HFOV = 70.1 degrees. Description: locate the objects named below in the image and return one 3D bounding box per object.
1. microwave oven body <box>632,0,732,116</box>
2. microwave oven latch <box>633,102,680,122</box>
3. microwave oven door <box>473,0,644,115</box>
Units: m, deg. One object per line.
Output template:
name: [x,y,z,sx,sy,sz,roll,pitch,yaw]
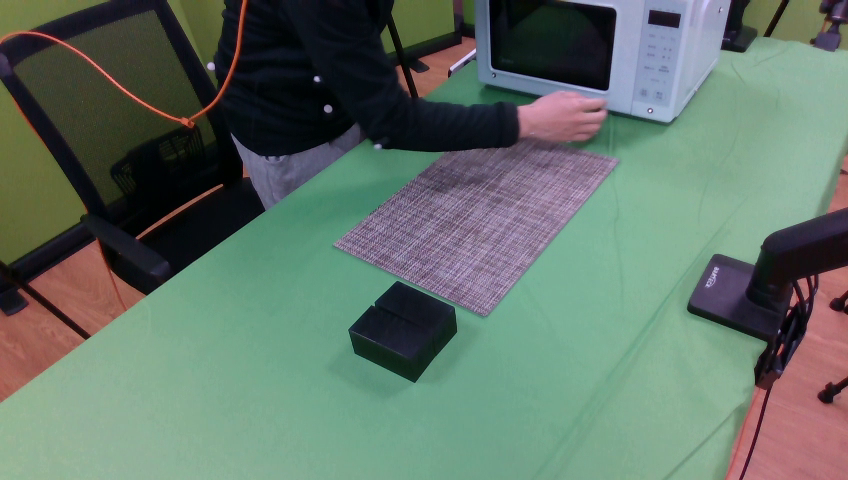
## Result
microwave oven body: [0.377,-0.463,1.267,0.438,0.261,0.327,21,49,30]
microwave oven latch: [0.443,-0.249,1.157,0.078,0.029,0.030,22,49,30]
microwave oven door: [0.257,-0.396,1.199,0.353,0.245,0.039,21,48,29]
